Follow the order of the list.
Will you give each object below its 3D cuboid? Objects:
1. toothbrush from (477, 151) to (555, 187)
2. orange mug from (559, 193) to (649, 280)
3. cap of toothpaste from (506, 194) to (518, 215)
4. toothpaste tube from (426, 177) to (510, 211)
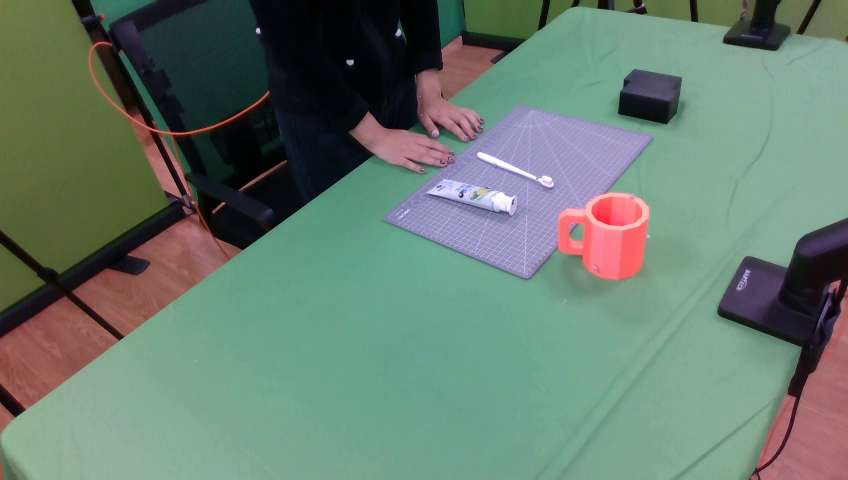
[{"bbox_3d":[0.164,-0.133,1.107,0.180,0.017,0.014,30,69,39],"label":"toothbrush"},{"bbox_3d":[0.261,-0.008,0.884,0.126,0.101,0.083,9,43,14],"label":"orange mug"},{"bbox_3d":[0.146,-0.060,1.007,0.011,0.037,0.037,14,46,22],"label":"cap of toothpaste"},{"bbox_3d":[0.083,-0.081,1.054,0.164,0.034,0.055,18,40,34],"label":"toothpaste tube"}]
